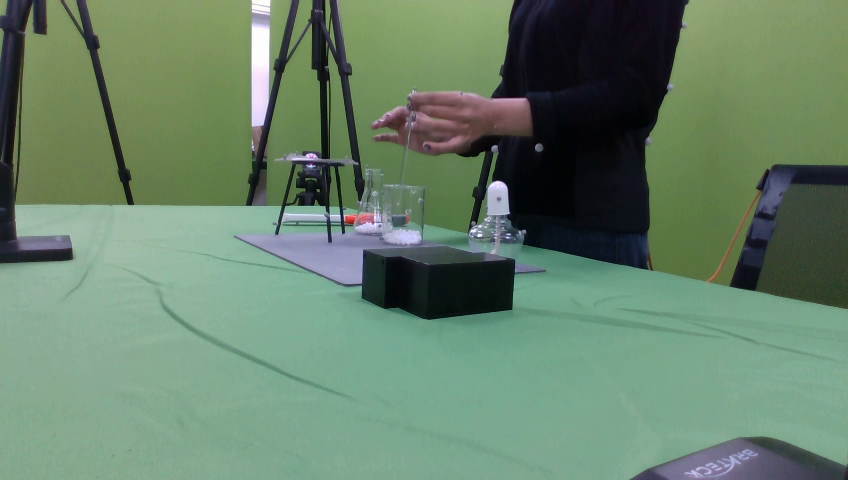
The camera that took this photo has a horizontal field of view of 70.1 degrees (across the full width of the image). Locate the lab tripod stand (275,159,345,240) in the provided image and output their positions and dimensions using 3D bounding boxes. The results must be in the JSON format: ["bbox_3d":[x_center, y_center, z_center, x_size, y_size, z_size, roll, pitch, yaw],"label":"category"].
[{"bbox_3d":[-0.181,-0.072,1.039,0.148,0.131,0.148,4,8,0],"label":"lab tripod stand"}]

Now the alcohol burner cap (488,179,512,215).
[{"bbox_3d":[0.101,-0.058,0.816,0.034,0.048,0.034,-5,9,1],"label":"alcohol burner cap"}]

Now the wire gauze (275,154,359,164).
[{"bbox_3d":[-0.179,-0.137,1.028,0.121,0.011,0.125,4,8,0],"label":"wire gauze"}]

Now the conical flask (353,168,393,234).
[{"bbox_3d":[-0.094,-0.074,1.126,0.075,0.122,0.075,2,7,0],"label":"conical flask"}]

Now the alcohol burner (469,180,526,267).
[{"bbox_3d":[0.101,-0.022,0.821,0.078,0.119,0.078,4,8,0],"label":"alcohol burner"}]

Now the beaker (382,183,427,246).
[{"bbox_3d":[-0.033,-0.044,1.008,0.074,0.100,0.084,6,8,22],"label":"beaker"}]

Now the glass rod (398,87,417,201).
[{"bbox_3d":[-0.027,-0.151,0.978,0.008,0.199,0.008,7,32,-4],"label":"glass rod"}]

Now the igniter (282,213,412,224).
[{"bbox_3d":[-0.159,-0.046,1.287,0.278,0.025,0.057,-1,-2,-21],"label":"igniter"}]
